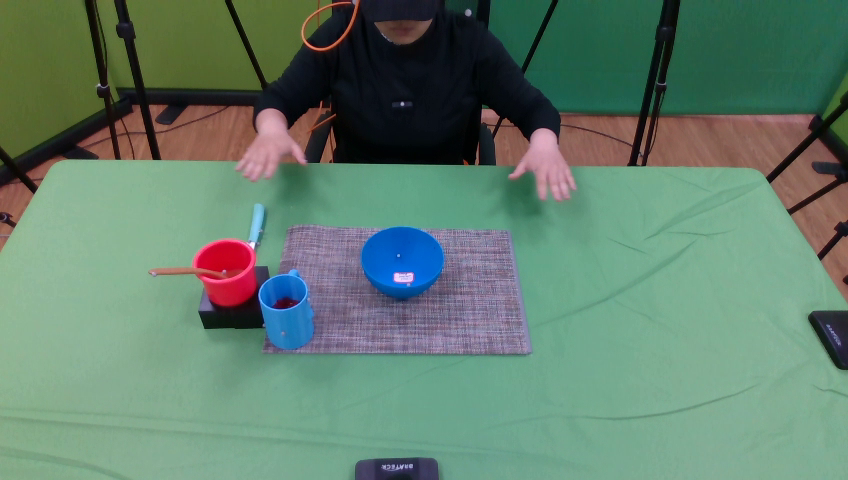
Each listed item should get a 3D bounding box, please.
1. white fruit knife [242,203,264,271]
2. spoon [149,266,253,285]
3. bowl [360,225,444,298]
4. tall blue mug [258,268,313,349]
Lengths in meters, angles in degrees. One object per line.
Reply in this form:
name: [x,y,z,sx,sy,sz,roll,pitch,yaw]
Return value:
white fruit knife: [-0.334,0.000,1.178,0.027,0.016,0.206,-18,46,16]
spoon: [-0.351,0.052,0.968,0.041,0.021,0.194,41,12,28]
bowl: [-0.040,0.053,1.099,0.151,0.077,0.150,2,46,-2]
tall blue mug: [-0.232,0.108,1.010,0.078,0.108,0.106,-15,49,-17]
